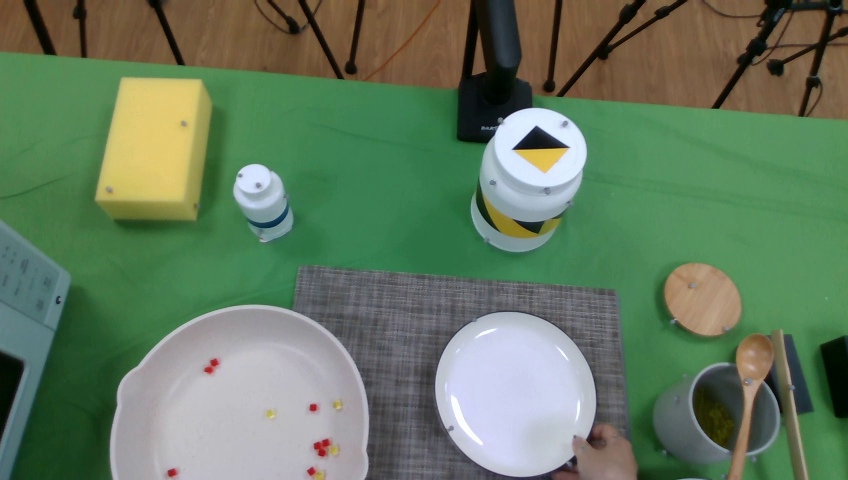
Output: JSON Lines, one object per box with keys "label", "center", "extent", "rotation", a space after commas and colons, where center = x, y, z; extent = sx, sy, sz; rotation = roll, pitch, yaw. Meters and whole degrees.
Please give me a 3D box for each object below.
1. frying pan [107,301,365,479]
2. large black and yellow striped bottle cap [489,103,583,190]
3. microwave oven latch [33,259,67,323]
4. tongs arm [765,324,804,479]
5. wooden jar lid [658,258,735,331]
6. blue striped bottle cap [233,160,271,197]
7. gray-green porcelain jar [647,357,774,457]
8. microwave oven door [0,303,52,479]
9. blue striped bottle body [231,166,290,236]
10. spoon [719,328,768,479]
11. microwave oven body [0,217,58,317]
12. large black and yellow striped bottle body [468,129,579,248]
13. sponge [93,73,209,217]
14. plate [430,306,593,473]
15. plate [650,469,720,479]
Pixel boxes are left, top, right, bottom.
{"label": "frying pan", "center": [-0.249, 0.304, 0.670], "extent": [0.306, 0.103, 0.485], "rotation": [19, 61, 7]}
{"label": "large black and yellow striped bottle cap", "center": [0.138, -0.116, 0.744], "extent": [0.115, 0.019, 0.114], "rotation": [1, 68, -3]}
{"label": "microwave oven latch", "center": [-0.483, 0.064, 0.773], "extent": [0.030, 0.029, 0.078], "rotation": [7, 67, -1]}
{"label": "tongs arm", "center": [0.468, 0.293, 0.731], "extent": [0.051, 0.026, 0.383], "rotation": [0, 77, -6]}
{"label": "wooden jar lid", "center": [0.384, 0.078, 0.858], "extent": [0.108, 0.021, 0.107], "rotation": [1, 68, -3]}
{"label": "blue striped bottle cap", "center": [-0.219, -0.079, 0.773], "extent": [0.044, 0.021, 0.044], "rotation": [1, 68, -3]}
{"label": "gray-green porcelain jar", "center": [0.341, 0.208, 0.740], "extent": [0.106, 0.127, 0.105], "rotation": [1, 66, -3]}
{"label": "microwave oven door", "center": [-0.494, 0.223, 0.593], "extent": [0.039, 0.245, 0.353], "rotation": [4, 66, -1]}
{"label": "blue striped bottle body", "center": [-0.222, -0.058, 0.819], "extent": [0.063, 0.121, 0.062], "rotation": [1, 66, -3]}
{"label": "spoon", "center": [0.349, 0.190, 0.672], "extent": [0.041, 0.022, 0.193], "rotation": [20, 71, 3]}
{"label": "microwave oven body", "center": [-0.637, 0.174, 0.610], "extent": [0.326, 0.262, 0.438], "rotation": [5, 67, -2]}
{"label": "large black and yellow striped bottle body", "center": [0.132, -0.081, 0.820], "extent": [0.131, 0.185, 0.129], "rotation": [1, 66, -3]}
{"label": "sponge", "center": [-0.388, -0.138, 0.875], "extent": [0.118, 0.061, 0.205], "rotation": [0, 67, -4]}
{"label": "plate", "center": [0.110, 0.189, 0.777], "extent": [0.209, 0.038, 0.207], "rotation": [1, 66, -3]}
{"label": "plate", "center": [0.321, 0.380, 0.714], "extent": [0.208, 0.039, 0.206], "rotation": [1, 66, -3]}
